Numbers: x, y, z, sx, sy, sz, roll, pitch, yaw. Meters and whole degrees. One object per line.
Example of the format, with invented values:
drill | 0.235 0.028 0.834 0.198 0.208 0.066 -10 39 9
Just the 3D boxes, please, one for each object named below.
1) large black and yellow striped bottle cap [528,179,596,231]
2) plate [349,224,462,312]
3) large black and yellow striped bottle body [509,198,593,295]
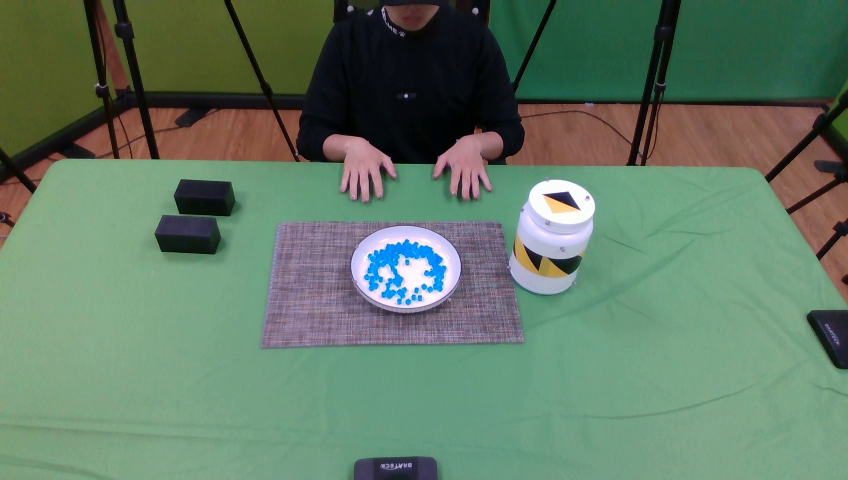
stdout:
large black and yellow striped bottle cap | 0.237 -0.062 1.043 0.115 0.019 0.114 1 47 -1
plate | -0.035 0.054 1.126 0.208 0.039 0.206 2 46 -2
large black and yellow striped bottle body | 0.232 -0.004 1.104 0.131 0.185 0.130 2 46 -2
